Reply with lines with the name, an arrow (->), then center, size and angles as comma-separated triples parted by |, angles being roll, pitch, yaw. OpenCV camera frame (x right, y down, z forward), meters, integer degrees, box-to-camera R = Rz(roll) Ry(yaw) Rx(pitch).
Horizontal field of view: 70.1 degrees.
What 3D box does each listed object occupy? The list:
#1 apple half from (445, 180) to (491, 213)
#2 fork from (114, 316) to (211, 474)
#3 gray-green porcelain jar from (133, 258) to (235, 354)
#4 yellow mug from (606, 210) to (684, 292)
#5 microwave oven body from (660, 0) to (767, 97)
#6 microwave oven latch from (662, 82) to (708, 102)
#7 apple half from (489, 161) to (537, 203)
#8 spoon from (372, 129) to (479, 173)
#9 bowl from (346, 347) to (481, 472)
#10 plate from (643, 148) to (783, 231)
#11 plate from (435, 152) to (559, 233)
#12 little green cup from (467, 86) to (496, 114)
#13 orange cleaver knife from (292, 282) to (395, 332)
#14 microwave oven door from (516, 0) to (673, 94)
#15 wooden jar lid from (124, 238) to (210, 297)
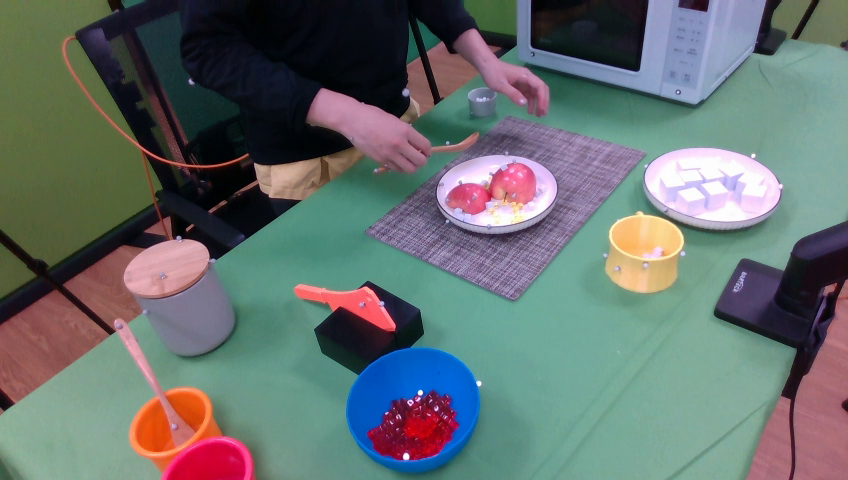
apple half -> 0.076, -0.083, 1.029 | 0.081, 0.033, 0.081 | -2, 42, 2
fork -> -0.309, 0.179, 0.708 | 0.028, 0.018, 0.207 | -30, 89, -23
gray-green porcelain jar -> -0.328, 0.086, 0.836 | 0.106, 0.127, 0.105 | -4, 41, 4
yellow mug -> 0.318, 0.007, 0.883 | 0.100, 0.064, 0.130 | 0, 41, 8
microwave oven body -> 0.474, -0.517, 1.313 | 0.438, 0.261, 0.327 | 26, 51, 34
microwave oven latch -> 0.518, -0.298, 1.202 | 0.078, 0.029, 0.030 | 28, 53, 35
apple half -> 0.154, -0.106, 1.030 | 0.080, 0.053, 0.075 | 21, 46, 31
spoon -> 0.005, -0.142, 0.965 | 0.194, 0.021, 0.041 | -19, 9, -18
bowl -> -0.008, 0.205, 0.691 | 0.151, 0.077, 0.150 | -4, 40, 4
plate -> 0.464, -0.080, 0.986 | 0.207, 0.039, 0.206 | -4, 41, 4
plate -> 0.124, -0.078, 1.026 | 0.209, 0.038, 0.208 | -4, 40, 4
little green cup -> 0.123, -0.297, 1.285 | 0.061, 0.039, 0.061 | -5, 41, 5
orange cleaver knife -> -0.116, 0.091, 0.835 | 0.209, 0.077, 0.012 | 2, 32, 48
microwave oven door -> 0.344, -0.458, 1.257 | 0.353, 0.245, 0.039 | 26, 52, 33
wooden jar lid -> -0.335, 0.039, 0.794 | 0.108, 0.021, 0.108 | -2, 40, 2
